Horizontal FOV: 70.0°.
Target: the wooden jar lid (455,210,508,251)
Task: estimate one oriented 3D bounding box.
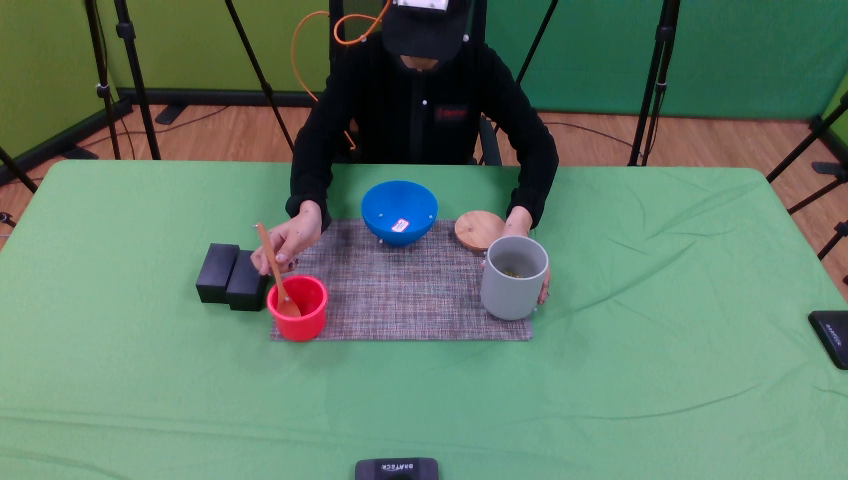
[{"bbox_3d":[0.115,-0.018,1.220,0.108,0.021,0.107,3,47,-3],"label":"wooden jar lid"}]

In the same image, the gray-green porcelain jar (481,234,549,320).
[{"bbox_3d":[0.156,0.070,1.065,0.106,0.127,0.105,2,46,-2],"label":"gray-green porcelain jar"}]

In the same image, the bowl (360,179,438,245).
[{"bbox_3d":[-0.049,-0.042,1.190,0.151,0.077,0.150,2,46,-2],"label":"bowl"}]

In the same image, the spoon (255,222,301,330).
[{"bbox_3d":[-0.245,0.061,1.008,0.041,0.194,0.021,-21,21,-28],"label":"spoon"}]
